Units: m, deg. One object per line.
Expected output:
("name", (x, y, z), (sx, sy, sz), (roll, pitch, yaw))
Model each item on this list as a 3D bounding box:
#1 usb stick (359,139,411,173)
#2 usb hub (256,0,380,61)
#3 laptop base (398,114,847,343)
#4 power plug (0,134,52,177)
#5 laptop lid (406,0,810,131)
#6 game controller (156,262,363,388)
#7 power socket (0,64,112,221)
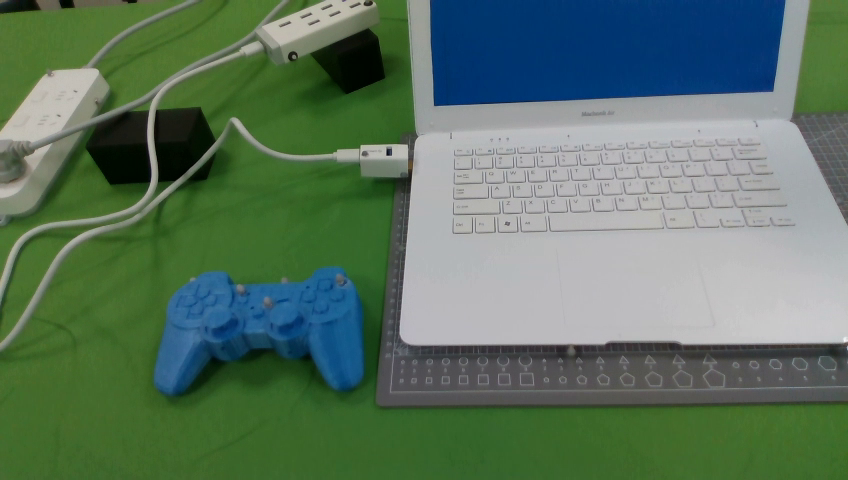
("usb stick", (-0.030, -0.077, 0.559), (0.059, 0.027, 0.021), (1, 49, -3))
("usb hub", (-0.112, -0.233, 0.648), (0.125, 0.025, 0.049), (-30, 55, -17))
("laptop base", (0.161, -0.016, 0.507), (0.354, 0.023, 0.233), (-1, 54, 5))
("power plug", (-0.382, -0.072, 0.573), (0.072, 0.053, 0.035), (10, 51, 11))
("laptop lid", (0.159, -0.215, 0.537), (0.356, 0.243, 0.013), (-3, 22, 5))
("game controller", (-0.121, 0.060, 0.458), (0.155, 0.052, 0.096), (-1, 46, 4))
("power socket", (-0.405, -0.114, 0.641), (0.072, 0.033, 0.224), (1, 50, 6))
